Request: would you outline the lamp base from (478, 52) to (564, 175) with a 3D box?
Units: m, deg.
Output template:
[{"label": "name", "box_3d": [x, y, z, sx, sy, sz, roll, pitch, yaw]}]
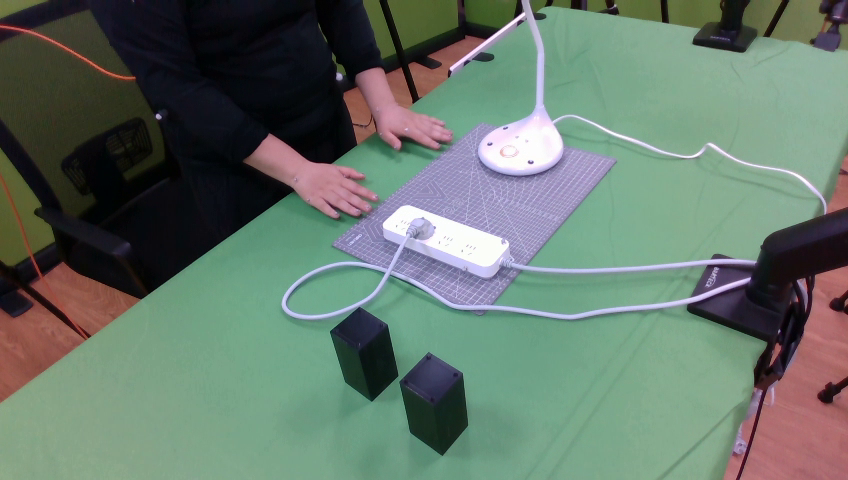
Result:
[{"label": "lamp base", "box_3d": [0.181, -0.236, 1.095, 0.159, 0.181, 0.179, 20, 44, 29]}]

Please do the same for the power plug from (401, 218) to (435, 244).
[{"label": "power plug", "box_3d": [-0.014, -0.005, 0.937, 0.073, 0.053, 0.035, -38, 46, -27]}]

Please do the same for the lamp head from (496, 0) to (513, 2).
[{"label": "lamp head", "box_3d": [0.120, -0.420, 0.861, 0.111, 0.113, 0.123, 24, 72, 32]}]

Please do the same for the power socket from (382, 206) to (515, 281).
[{"label": "power socket", "box_3d": [0.032, 0.002, 0.950, 0.225, 0.033, 0.072, 21, 49, 29]}]
